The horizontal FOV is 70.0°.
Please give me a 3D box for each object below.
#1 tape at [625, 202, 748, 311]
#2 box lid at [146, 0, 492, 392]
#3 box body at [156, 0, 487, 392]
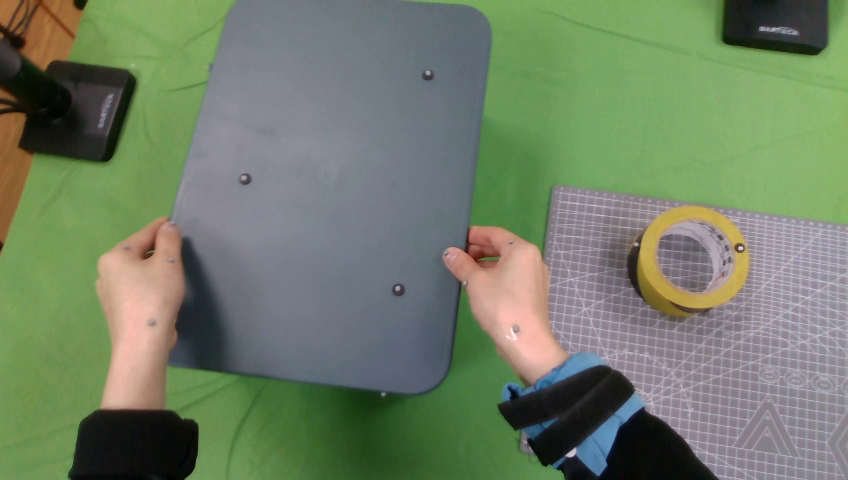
[{"bbox_3d":[0.282,0.020,0.650,0.117,0.053,0.116,-1,76,3],"label":"tape"},{"bbox_3d":[-0.085,-0.064,0.544,0.263,0.015,0.369,6,75,4],"label":"box lid"},{"bbox_3d":[-0.082,-0.039,0.627,0.254,0.161,0.362,7,76,4],"label":"box body"}]
